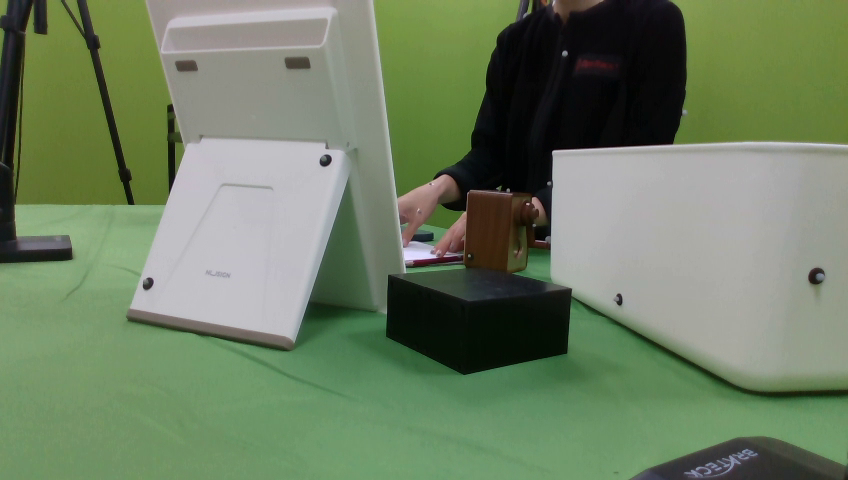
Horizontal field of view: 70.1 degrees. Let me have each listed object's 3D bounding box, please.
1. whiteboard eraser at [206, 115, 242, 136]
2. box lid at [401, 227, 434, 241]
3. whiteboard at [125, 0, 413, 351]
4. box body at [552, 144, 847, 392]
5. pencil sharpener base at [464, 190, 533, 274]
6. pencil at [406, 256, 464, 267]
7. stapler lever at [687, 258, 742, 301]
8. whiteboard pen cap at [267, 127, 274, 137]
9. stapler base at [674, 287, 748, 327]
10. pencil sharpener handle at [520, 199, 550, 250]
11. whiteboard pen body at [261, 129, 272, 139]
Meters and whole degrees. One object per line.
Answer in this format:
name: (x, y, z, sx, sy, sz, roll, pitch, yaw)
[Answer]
whiteboard eraser: (-0.438, -0.249, 1.320, 0.056, 0.042, 0.112, -3, 9, -30)
box lid: (-0.196, -0.015, 1.105, 0.373, 0.015, 0.262, -1, 7, -32)
whiteboard: (-0.151, -0.050, 0.471, 0.216, 0.305, 0.144, 6, 27, 24)
box body: (0.290, 0.002, 0.549, 0.255, 0.160, 0.363, 2, 7, -10)
pencil sharpener base: (0.102, -0.012, 0.813, 0.076, 0.107, 0.061, 8, 9, 36)
pencil: (0.040, 0.028, 0.851, 0.195, 0.012, 0.012, -5, 11, -43)
stapler lever: (0.283, 0.035, 0.585, 0.026, 0.040, 0.119, 11, 8, 37)
whiteboard pen cap: (-0.340, -0.239, 1.337, 0.018, 0.018, 0.033, 1, -1, -15)
stapler base: (0.281, 0.061, 0.586, 0.041, 0.024, 0.131, 11, 9, 37)
pencil sharpener handle: (0.147, -0.019, 0.785, 0.030, 0.068, 0.036, 8, 26, 36)
whiteboard pen body: (-0.361, -0.245, 1.393, 0.017, 0.017, 0.140, 0, 5, -20)
